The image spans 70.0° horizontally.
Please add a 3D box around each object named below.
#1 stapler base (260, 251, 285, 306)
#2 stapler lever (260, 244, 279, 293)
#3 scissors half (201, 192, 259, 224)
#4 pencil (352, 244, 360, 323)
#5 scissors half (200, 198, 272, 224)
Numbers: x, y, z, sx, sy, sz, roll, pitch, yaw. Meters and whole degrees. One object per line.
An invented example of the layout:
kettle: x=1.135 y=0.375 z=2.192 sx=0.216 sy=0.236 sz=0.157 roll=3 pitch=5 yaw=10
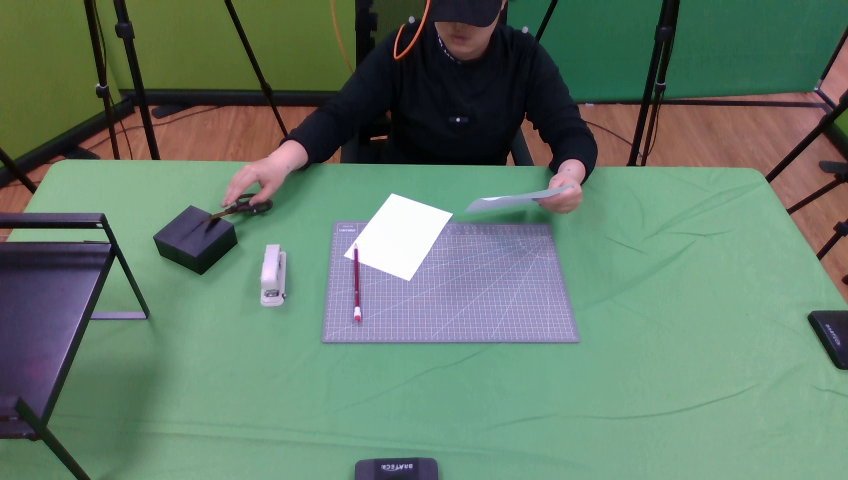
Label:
stapler base: x=-0.279 y=0.064 z=1.113 sx=0.041 sy=0.024 sz=0.129 roll=-1 pitch=44 yaw=-9
stapler lever: x=-0.279 y=0.045 z=1.096 sx=0.027 sy=0.040 sz=0.117 roll=-2 pitch=44 yaw=-9
scissors half: x=-0.383 y=-0.063 z=1.194 sx=0.040 sy=0.013 sz=0.175 roll=20 pitch=28 yaw=9
pencil: x=-0.127 y=0.075 z=1.120 sx=0.012 sy=0.012 sz=0.192 roll=-3 pitch=44 yaw=-7
scissors half: x=-0.365 y=-0.054 z=1.188 sx=0.040 sy=0.013 sz=0.175 roll=35 pitch=32 yaw=23
